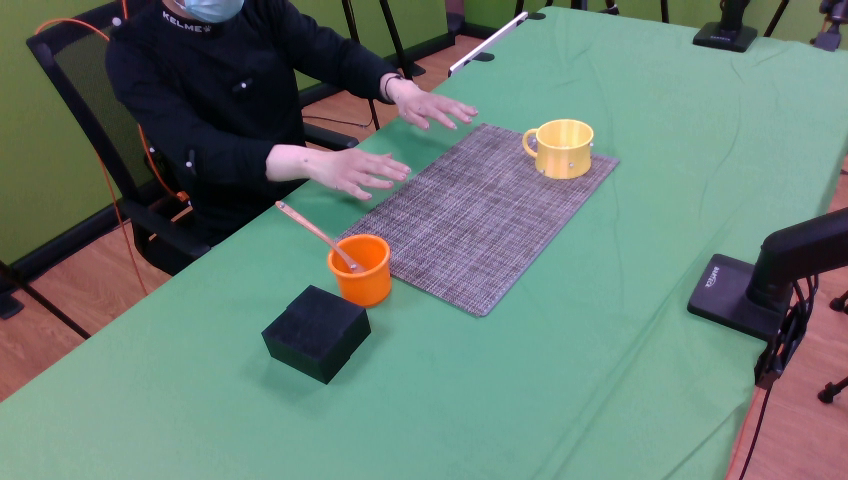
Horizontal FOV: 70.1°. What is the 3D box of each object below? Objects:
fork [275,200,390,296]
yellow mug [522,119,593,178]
[{"bbox_3d":[-0.133,0.011,0.876,0.208,0.018,0.028,42,57,-11],"label":"fork"},{"bbox_3d":[0.237,-0.170,1.092,0.130,0.064,0.100,17,47,27],"label":"yellow mug"}]
